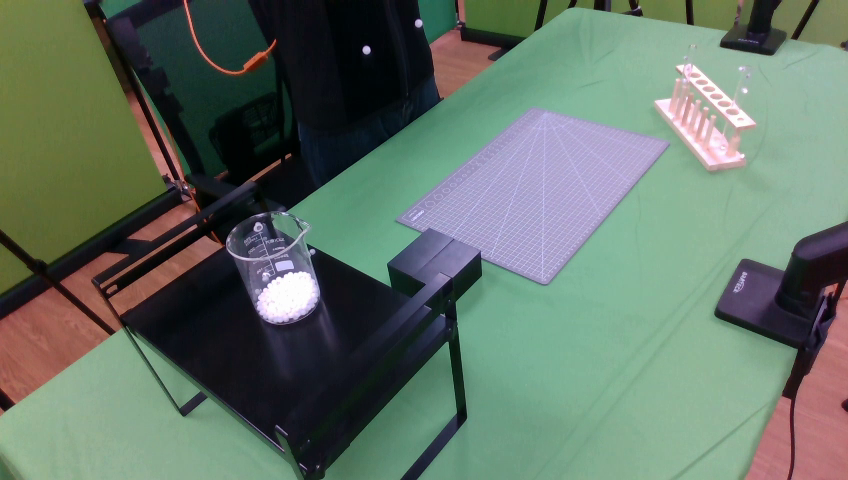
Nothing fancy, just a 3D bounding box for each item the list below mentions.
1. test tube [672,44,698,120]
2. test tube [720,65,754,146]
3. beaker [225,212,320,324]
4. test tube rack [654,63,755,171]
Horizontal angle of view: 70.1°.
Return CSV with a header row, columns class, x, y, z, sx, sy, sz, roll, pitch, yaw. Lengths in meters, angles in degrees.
class,x,y,z,sx,sy,sz,roll,pitch,yaw
test tube,0.484,-0.291,1.122,0.017,0.151,0.017,-2,41,2
test tube,0.533,-0.226,1.032,0.017,0.151,0.017,-1,40,2
beaker,-0.149,0.031,0.625,0.084,0.101,0.073,-18,42,-13
test tube rack,0.510,-0.233,1.120,0.067,0.085,0.241,-8,41,-1
